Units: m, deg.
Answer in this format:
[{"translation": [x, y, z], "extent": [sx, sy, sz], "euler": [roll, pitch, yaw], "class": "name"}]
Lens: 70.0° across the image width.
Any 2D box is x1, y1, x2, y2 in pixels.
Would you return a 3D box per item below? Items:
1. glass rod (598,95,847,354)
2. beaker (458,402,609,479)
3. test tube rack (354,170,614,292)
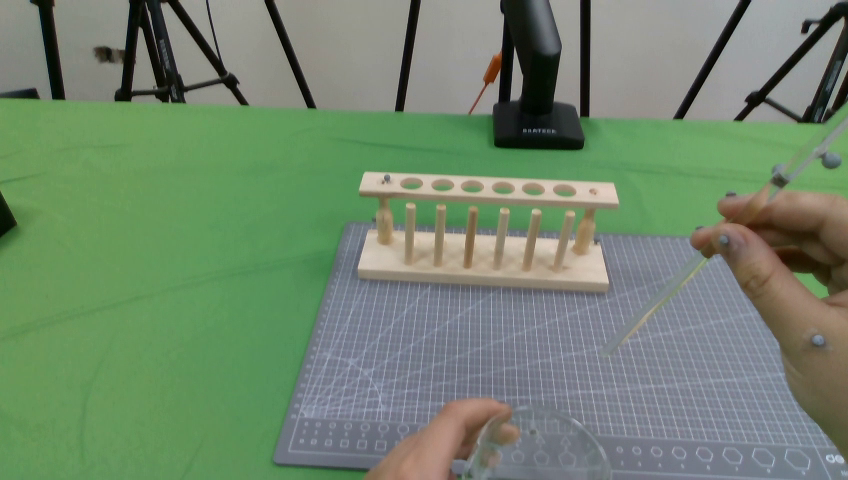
[{"translation": [0.129, 0.007, 0.281], "extent": [0.008, 0.201, 0.008], "euler": [8, 51, -10], "class": "glass rod"}, {"translation": [0.057, 0.159, 0.360], "extent": [0.084, 0.101, 0.073], "euler": [-5, 37, -12], "class": "beaker"}, {"translation": [0.055, -0.009, 0.589], "extent": [0.242, 0.086, 0.066], "euler": [3, 39, 3], "class": "test tube rack"}]
